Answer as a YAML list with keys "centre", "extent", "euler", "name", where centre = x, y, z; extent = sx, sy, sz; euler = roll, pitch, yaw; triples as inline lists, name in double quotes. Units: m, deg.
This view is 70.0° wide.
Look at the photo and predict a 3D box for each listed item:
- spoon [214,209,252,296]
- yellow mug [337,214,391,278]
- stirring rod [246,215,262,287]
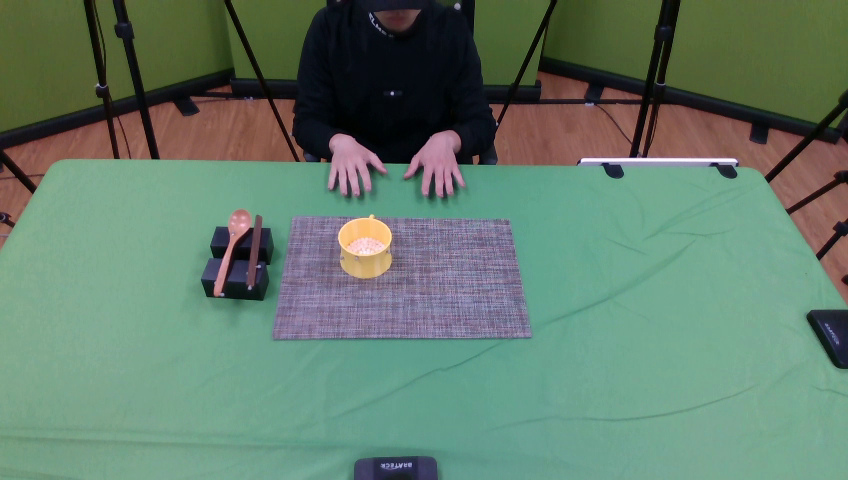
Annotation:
- centre: [-0.348, 0.019, 1.087]
  extent: [0.041, 0.022, 0.192]
  euler: [8, 47, -4]
  name: "spoon"
- centre: [-0.110, 0.003, 1.152]
  extent: [0.100, 0.064, 0.130]
  euler: [7, 45, 2]
  name: "yellow mug"
- centre: [-0.308, 0.017, 1.098]
  extent: [0.014, 0.006, 0.175]
  euler: [24, 37, -29]
  name: "stirring rod"
